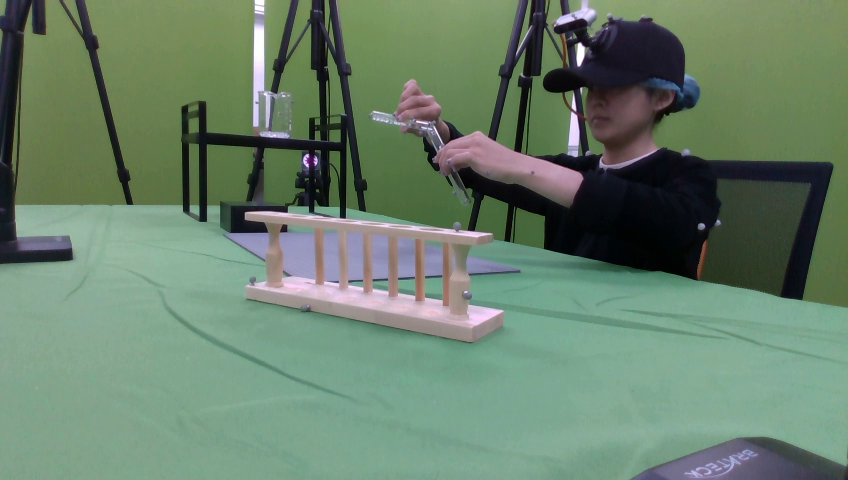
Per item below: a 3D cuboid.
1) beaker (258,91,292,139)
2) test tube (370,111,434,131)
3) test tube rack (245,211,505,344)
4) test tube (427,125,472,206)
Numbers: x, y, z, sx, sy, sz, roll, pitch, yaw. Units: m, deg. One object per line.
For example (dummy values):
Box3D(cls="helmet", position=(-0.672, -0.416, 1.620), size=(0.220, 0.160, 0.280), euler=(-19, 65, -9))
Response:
Box3D(cls="beaker", position=(-0.331, -0.276, 1.343), size=(0.074, 0.100, 0.083), euler=(0, 8, -20))
Box3D(cls="test tube", position=(-0.039, -0.196, 0.994), size=(0.017, 0.017, 0.149), euler=(-5, 18, -44))
Box3D(cls="test tube rack", position=(-0.049, 0.025, 0.547), size=(0.241, 0.085, 0.067), euler=(7, 8, 28))
Box3D(cls="test tube", position=(0.038, -0.114, 0.917), size=(0.017, 0.150, 0.017), euler=(-20, -24, -9))
